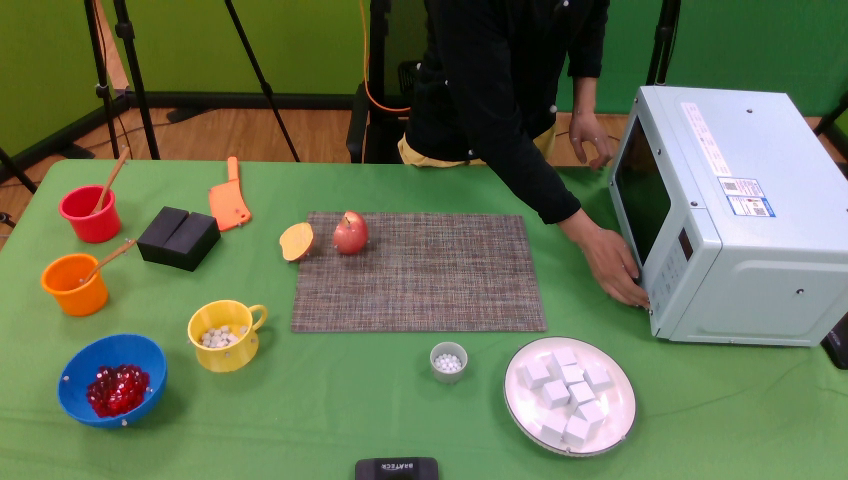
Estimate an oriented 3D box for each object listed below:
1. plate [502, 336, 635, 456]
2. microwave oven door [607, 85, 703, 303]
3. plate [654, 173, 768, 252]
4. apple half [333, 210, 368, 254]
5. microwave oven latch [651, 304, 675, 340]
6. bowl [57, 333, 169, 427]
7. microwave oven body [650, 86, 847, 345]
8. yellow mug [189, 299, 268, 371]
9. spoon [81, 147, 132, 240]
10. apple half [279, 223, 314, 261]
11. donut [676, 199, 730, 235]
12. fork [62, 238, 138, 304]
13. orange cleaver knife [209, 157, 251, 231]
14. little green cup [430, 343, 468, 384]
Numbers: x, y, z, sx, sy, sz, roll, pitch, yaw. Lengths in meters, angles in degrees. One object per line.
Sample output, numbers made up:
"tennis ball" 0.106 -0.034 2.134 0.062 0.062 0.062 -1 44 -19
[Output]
"plate" 0.226 0.248 0.963 0.208 0.039 0.206 2 46 -2
"microwave oven door" 0.424 -0.094 1.140 0.039 0.245 0.353 2 46 -1
"plate" 0.556 -0.050 1.188 0.209 0.038 0.208 1 47 -1
"apple half" -0.135 -0.010 1.158 0.053 0.075 0.080 17 44 8
"microwave oven latch" 0.416 0.136 1.059 0.030 0.029 0.079 9 45 6
"bowl" -0.455 0.223 0.911 0.151 0.077 0.150 3 45 -2
"microwave oven body" 0.568 -0.053 1.118 0.326 0.261 0.439 2 45 -1
"yellow mug" -0.315 0.148 1.002 0.131 0.064 0.099 -32 56 -31
"spoon" -0.602 -0.089 1.156 0.041 0.022 0.193 27 94 20
"apple half" -0.236 0.007 1.157 0.081 0.033 0.081 -14 58 23
"donut" 0.539 -0.046 1.170 0.099 0.048 0.098 3 35 -2
"fork" -0.546 0.053 1.019 0.207 0.019 0.028 -36 41 23
"orange cleaver knife" -0.409 -0.099 1.266 0.077 0.012 0.210 -14 50 -9
"little green cup" 0.039 0.203 0.994 0.061 0.039 0.061 2 46 -2
